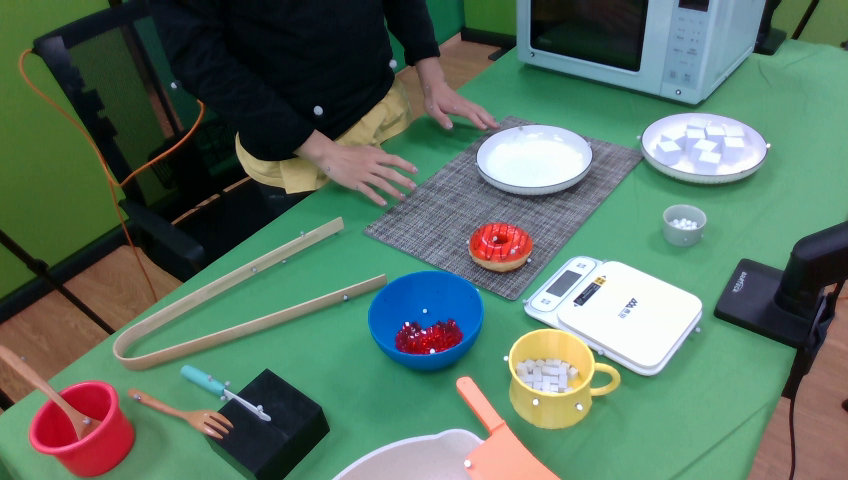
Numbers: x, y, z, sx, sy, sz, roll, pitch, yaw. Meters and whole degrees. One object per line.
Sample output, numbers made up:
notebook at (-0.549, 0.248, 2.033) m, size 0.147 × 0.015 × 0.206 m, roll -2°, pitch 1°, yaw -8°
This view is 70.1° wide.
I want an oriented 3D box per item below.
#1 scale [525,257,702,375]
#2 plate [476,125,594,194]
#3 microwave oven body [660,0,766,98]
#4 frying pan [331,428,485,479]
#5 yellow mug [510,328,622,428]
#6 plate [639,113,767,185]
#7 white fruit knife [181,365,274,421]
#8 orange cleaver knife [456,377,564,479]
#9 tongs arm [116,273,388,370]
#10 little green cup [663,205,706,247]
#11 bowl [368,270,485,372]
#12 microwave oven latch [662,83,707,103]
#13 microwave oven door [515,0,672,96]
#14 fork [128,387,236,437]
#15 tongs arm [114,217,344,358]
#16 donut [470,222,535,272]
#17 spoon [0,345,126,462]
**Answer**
scale at (0.254, 0.091, 0.821) m, size 0.199 × 0.032 × 0.149 m, roll 28°, pitch 51°, yaw 35°
plate at (0.199, -0.141, 1.093) m, size 0.209 × 0.038 × 0.208 m, roll -4°, pitch 40°, yaw 4°
microwave oven body at (0.472, -0.513, 1.317) m, size 0.438 × 0.261 × 0.327 m, roll 26°, pitch 51°, yaw 34°
frying pan at (-0.089, 0.306, 0.564) m, size 0.487 × 0.103 × 0.306 m, roll 10°, pitch 41°, yaw 7°
yellow mug at (0.169, 0.164, 0.722) m, size 0.130 × 0.064 × 0.099 m, roll 0°, pitch 40°, yaw 8°
plate at (0.489, -0.157, 1.074) m, size 0.207 × 0.039 × 0.206 m, roll -4°, pitch 40°, yaw 4°
white fruit knife at (-0.246, 0.187, 0.747) m, size 0.205 × 0.027 × 0.016 m, roll 9°, pitch 41°, yaw 40°
orange cleaver knife at (0.081, 0.220, 0.611) m, size 0.077 × 0.012 × 0.209 m, roll -26°, pitch 43°, yaw -22°
tongs arm at (-0.236, 0.115, 0.870) m, size 0.389 × 0.028 × 0.028 m, roll -18°, pitch 49°, yaw -13°
little green cup at (0.396, -0.020, 0.926) m, size 0.061 × 0.039 × 0.061 m, roll -4°, pitch 40°, yaw 4°
bowl at (0.007, 0.118, 0.791) m, size 0.151 × 0.077 × 0.150 m, roll -4°, pitch 40°, yaw 4°
microwave oven latch at (0.517, -0.296, 1.204) m, size 0.078 × 0.029 × 0.030 m, roll 27°, pitch 52°, yaw 35°
microwave oven door at (0.343, -0.454, 1.259) m, size 0.353 × 0.245 × 0.039 m, roll 26°, pitch 51°, yaw 33°
fork at (-0.305, 0.207, 0.744) m, size 0.206 × 0.019 × 0.028 m, roll 3°, pitch 42°, yaw 36°
tongs arm at (-0.280, 0.067, 0.926) m, size 0.386 × 0.026 × 0.050 m, roll -29°, pitch 49°, yaw -23°
donut at (0.119, 0.009, 0.923) m, size 0.099 × 0.048 × 0.098 m, roll -4°, pitch 38°, yaw 3°
spoon at (-0.434, 0.192, 0.720) m, size 0.194 × 0.021 × 0.042 m, roll 47°, pitch 53°, yaw -7°
